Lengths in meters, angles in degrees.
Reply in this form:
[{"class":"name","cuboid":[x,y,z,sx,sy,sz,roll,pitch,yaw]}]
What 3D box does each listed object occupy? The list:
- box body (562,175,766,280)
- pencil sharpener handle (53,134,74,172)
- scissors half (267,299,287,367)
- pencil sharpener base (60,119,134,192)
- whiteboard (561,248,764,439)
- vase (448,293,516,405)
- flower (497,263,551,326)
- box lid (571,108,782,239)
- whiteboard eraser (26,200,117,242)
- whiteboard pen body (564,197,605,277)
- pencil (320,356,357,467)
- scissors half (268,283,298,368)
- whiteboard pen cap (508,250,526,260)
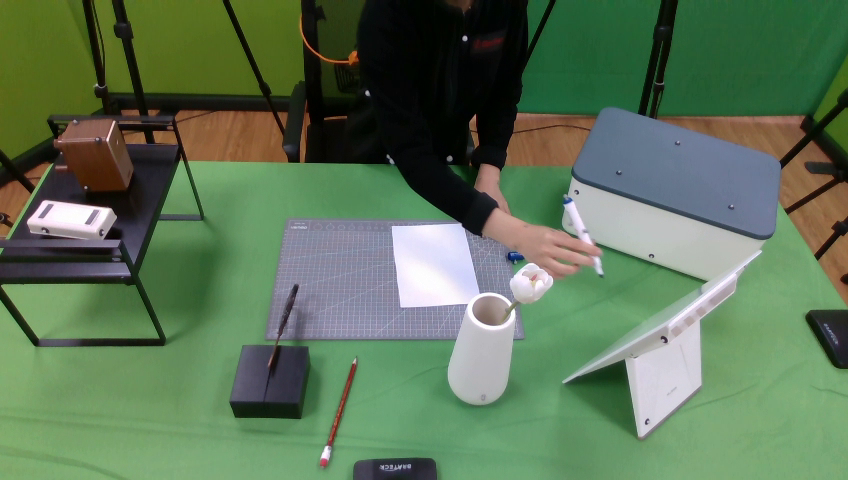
[{"class":"box body","cuboid":[0.486,-0.088,1.222,0.363,0.161,0.253,20,48,15]},{"class":"pencil sharpener handle","cuboid":[-0.578,-0.138,0.961,0.031,0.068,0.036,-4,34,-7]},{"class":"scissors half","cuboid":[-0.239,0.150,0.997,0.013,0.040,0.174,23,24,-13]},{"class":"pencil sharpener base","cuboid":[-0.528,-0.135,0.979,0.077,0.107,0.061,-4,47,-7]},{"class":"whiteboard","cuboid":[0.386,0.176,0.905,0.217,0.306,0.143,-26,72,-26]},{"class":"vase","cuboid":[0.091,0.169,0.921,0.098,0.201,0.097,3,47,-3]},{"class":"flower","cuboid":[0.103,0.121,0.852,0.044,0.363,0.038,-1,63,-9]},{"class":"box lid","cuboid":[0.491,-0.139,1.168,0.370,0.015,0.262,21,49,15]},{"class":"whiteboard eraser","cuboid":[-0.532,-0.026,0.919,0.113,0.042,0.055,7,45,3]},{"class":"whiteboard pen body","cuboid":[0.248,-0.002,0.929,0.017,0.141,0.017,-26,13,7]},{"class":"pencil","cuboid":[-0.130,0.261,0.947,0.012,0.012,0.193,10,45,5]},{"class":"scissors half","cuboid":[-0.230,0.135,0.986,0.013,0.040,0.174,19,43,-11]},{"class":"whiteboard pen cap","cuboid":[0.181,0.029,1.185,0.033,0.018,0.018,-4,47,-14]}]
